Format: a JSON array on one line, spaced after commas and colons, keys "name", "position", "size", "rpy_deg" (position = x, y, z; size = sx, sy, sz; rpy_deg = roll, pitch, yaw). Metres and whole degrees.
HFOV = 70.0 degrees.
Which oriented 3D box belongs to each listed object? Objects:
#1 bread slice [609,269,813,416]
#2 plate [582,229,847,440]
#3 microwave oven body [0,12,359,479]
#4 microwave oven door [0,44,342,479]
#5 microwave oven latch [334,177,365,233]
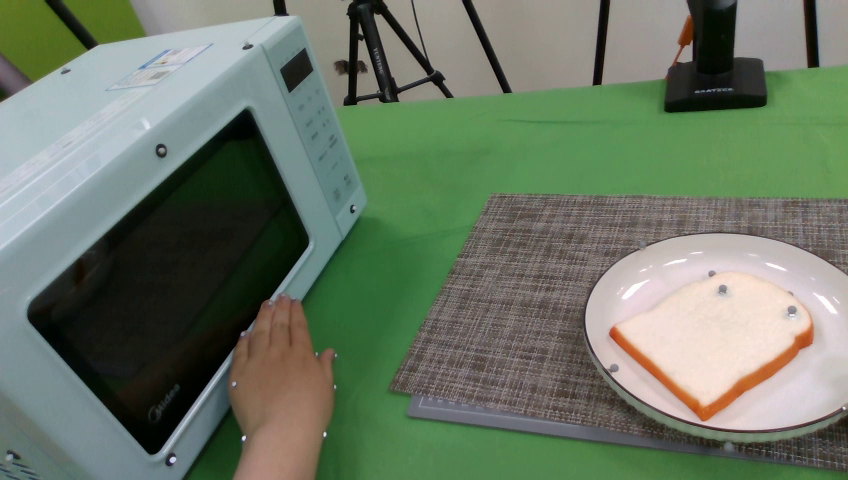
[{"name": "bread slice", "position": [0.230, 0.069, 0.479], "size": [0.131, 0.019, 0.103], "rpy_deg": [-27, 37, -13]}, {"name": "plate", "position": [0.232, 0.069, 0.475], "size": [0.209, 0.038, 0.207], "rpy_deg": [-12, 36, 9]}, {"name": "microwave oven body", "position": [-0.315, -0.007, 0.615], "size": [0.324, 0.263, 0.439], "rpy_deg": [2, 41, 24]}, {"name": "microwave oven door", "position": [-0.197, 0.017, 0.524], "size": [0.039, 0.246, 0.353], "rpy_deg": [1, 40, 24]}, {"name": "microwave oven latch", "position": [-0.098, -0.043, 0.737], "size": [0.030, 0.030, 0.078], "rpy_deg": [2, 41, 24]}]
